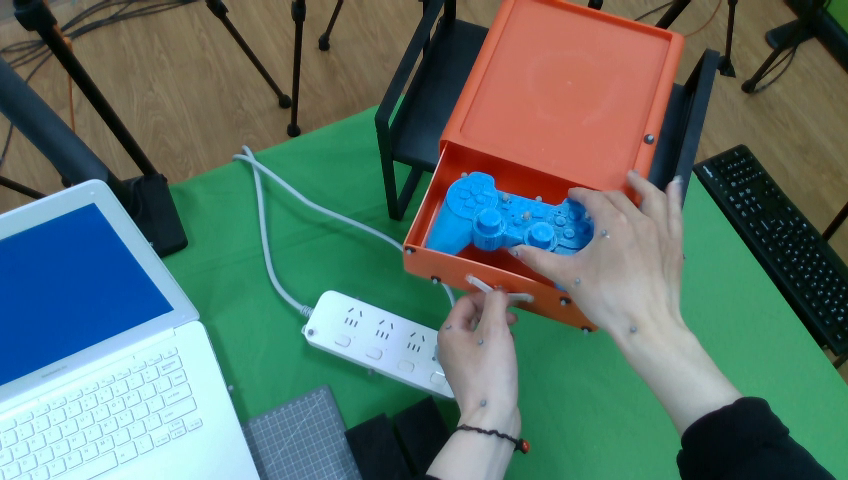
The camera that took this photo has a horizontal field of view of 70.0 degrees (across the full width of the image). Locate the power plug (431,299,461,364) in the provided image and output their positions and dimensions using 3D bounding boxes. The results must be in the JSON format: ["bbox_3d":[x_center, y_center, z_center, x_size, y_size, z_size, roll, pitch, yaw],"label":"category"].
[{"bbox_3d":[0.036,0.115,0.729,0.035,0.053,0.072,29,69,11],"label":"power plug"}]

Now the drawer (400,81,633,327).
[{"bbox_3d":[0.103,-0.044,0.597,0.194,0.074,0.210,18,67,7],"label":"drawer"}]

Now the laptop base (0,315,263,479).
[{"bbox_3d":[-0.388,0.260,0.700,0.354,0.023,0.234,-25,73,-10],"label":"laptop base"}]

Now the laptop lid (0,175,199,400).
[{"bbox_3d":[-0.462,0.082,0.658,0.357,0.244,0.013,-26,45,-9],"label":"laptop lid"}]

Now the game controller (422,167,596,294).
[{"bbox_3d":[0.083,-0.013,0.561,0.155,0.052,0.096,17,61,9],"label":"game controller"}]

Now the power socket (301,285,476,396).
[{"bbox_3d":[-0.044,0.123,0.750,0.226,0.033,0.072,21,69,8],"label":"power socket"}]

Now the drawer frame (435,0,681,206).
[{"bbox_3d":[0.141,-0.144,0.639,0.201,0.083,0.212,19,68,8],"label":"drawer frame"}]
